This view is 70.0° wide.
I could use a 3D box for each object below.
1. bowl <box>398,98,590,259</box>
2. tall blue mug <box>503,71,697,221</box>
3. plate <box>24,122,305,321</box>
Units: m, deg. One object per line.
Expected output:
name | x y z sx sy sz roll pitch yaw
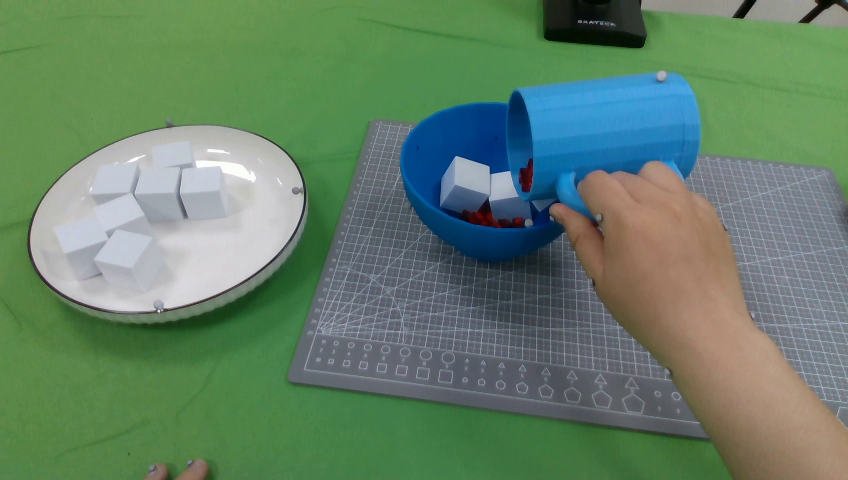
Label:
bowl | 0.054 -0.038 0.487 0.151 0.077 0.150 1 48 -1
tall blue mug | 0.117 -0.065 0.399 0.108 0.078 0.106 -6 23 -5
plate | -0.199 -0.018 0.488 0.209 0.038 0.207 2 49 -2
